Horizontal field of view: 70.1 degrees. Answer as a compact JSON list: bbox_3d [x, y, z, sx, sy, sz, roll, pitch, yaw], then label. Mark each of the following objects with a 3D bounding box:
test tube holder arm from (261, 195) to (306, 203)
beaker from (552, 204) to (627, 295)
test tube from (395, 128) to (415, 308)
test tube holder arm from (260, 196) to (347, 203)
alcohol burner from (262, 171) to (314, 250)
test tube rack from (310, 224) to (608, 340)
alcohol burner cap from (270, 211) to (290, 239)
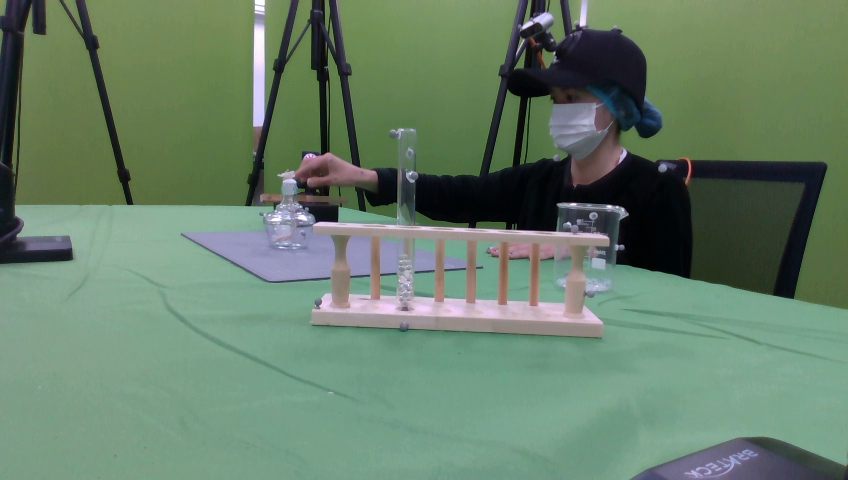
[{"bbox_3d":[-0.275,-0.081,1.185,0.088,0.015,0.010,-1,0,-32],"label":"test tube holder arm"},{"bbox_3d":[0.191,0.010,0.708,0.083,0.100,0.074,8,9,33],"label":"beaker"},{"bbox_3d":[-0.016,-0.016,0.502,0.017,0.150,0.017,1,10,0],"label":"test tube"},{"bbox_3d":[-0.239,-0.082,1.214,0.179,0.015,0.013,-1,0,-32],"label":"test tube holder arm"},{"bbox_3d":[-0.205,-0.045,0.913,0.078,0.119,0.078,1,9,0],"label":"alcohol burner"},{"bbox_3d":[0.028,0.032,0.528,0.242,0.085,0.067,3,7,0],"label":"test tube rack"},{"bbox_3d":[-0.246,-0.026,1.035,0.034,0.048,0.034,2,8,0],"label":"alcohol burner cap"}]
